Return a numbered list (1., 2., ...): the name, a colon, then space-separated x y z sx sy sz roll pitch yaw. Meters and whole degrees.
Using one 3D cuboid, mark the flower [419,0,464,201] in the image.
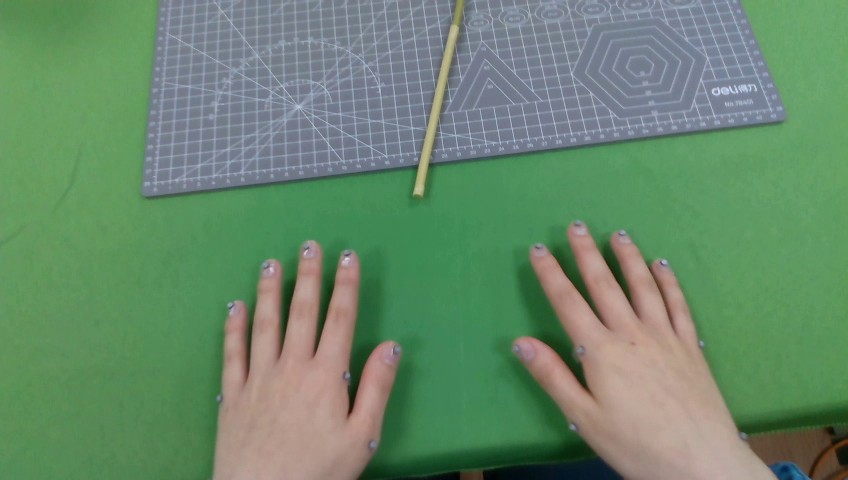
1. flower: 0.029 -0.197 0.468 0.044 0.038 0.359 19 71 -29
